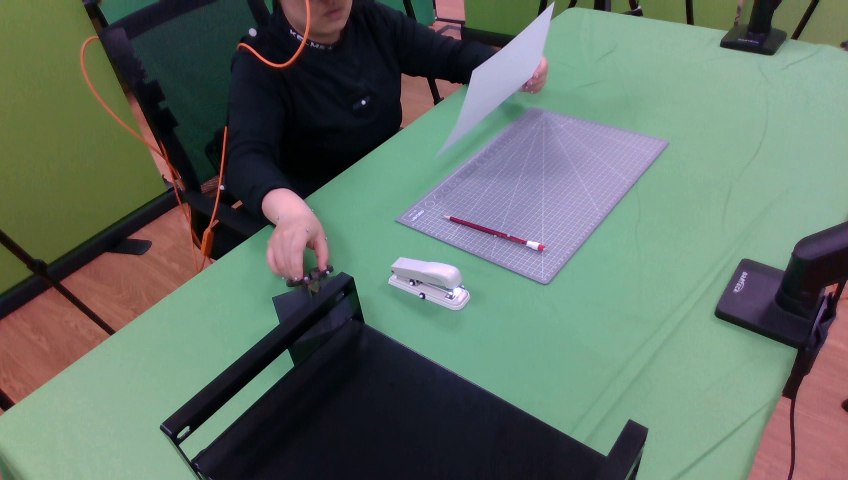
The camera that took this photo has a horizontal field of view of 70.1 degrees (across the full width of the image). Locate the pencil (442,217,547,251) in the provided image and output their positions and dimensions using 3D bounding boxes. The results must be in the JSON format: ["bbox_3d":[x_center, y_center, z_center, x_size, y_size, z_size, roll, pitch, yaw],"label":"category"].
[{"bbox_3d":[0.110,-0.012,0.979,0.192,0.012,0.012,18,46,30],"label":"pencil"}]

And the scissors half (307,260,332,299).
[{"bbox_3d":[-0.154,0.056,0.872,0.040,0.013,0.174,-25,16,0],"label":"scissors half"}]

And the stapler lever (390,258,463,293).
[{"bbox_3d":[0.003,0.046,0.881,0.117,0.040,0.027,17,44,29],"label":"stapler lever"}]

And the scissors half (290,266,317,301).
[{"bbox_3d":[-0.170,0.065,0.870,0.040,0.013,0.174,-34,16,-10],"label":"scissors half"}]

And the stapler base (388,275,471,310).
[{"bbox_3d":[0.007,0.066,0.897,0.129,0.024,0.041,17,43,29],"label":"stapler base"}]
